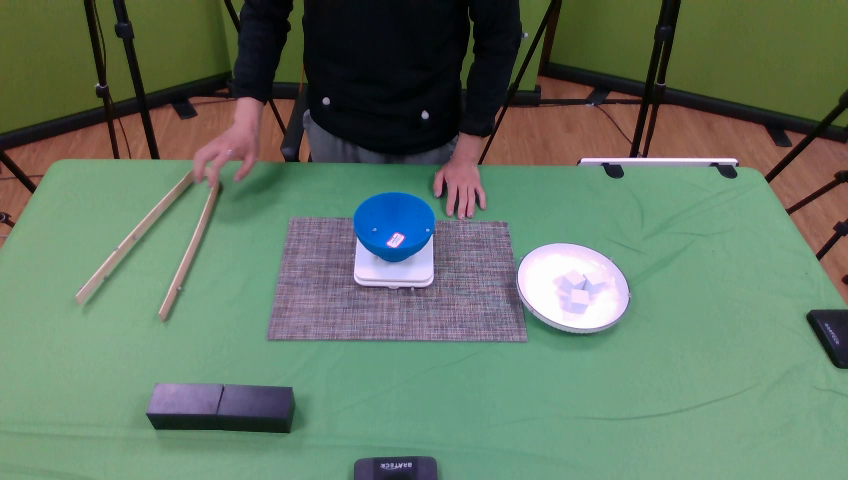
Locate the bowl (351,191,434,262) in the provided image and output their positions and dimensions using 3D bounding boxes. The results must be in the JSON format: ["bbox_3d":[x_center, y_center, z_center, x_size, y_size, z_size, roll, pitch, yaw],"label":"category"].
[{"bbox_3d":[-0.058,-0.013,1.119,0.151,0.077,0.150,1,46,-1],"label":"bowl"}]

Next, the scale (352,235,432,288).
[{"bbox_3d":[-0.060,0.010,1.171,0.149,0.032,0.199,2,46,-3],"label":"scale"}]

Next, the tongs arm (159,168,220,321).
[{"bbox_3d":[-0.446,-0.006,1.164,0.028,0.028,0.385,1,46,0],"label":"tongs arm"}]

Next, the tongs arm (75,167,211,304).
[{"bbox_3d":[-0.526,-0.021,1.167,0.051,0.026,0.383,13,46,7],"label":"tongs arm"}]

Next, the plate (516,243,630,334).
[{"bbox_3d":[0.272,0.092,1.120,0.208,0.039,0.206,2,46,-2],"label":"plate"}]
